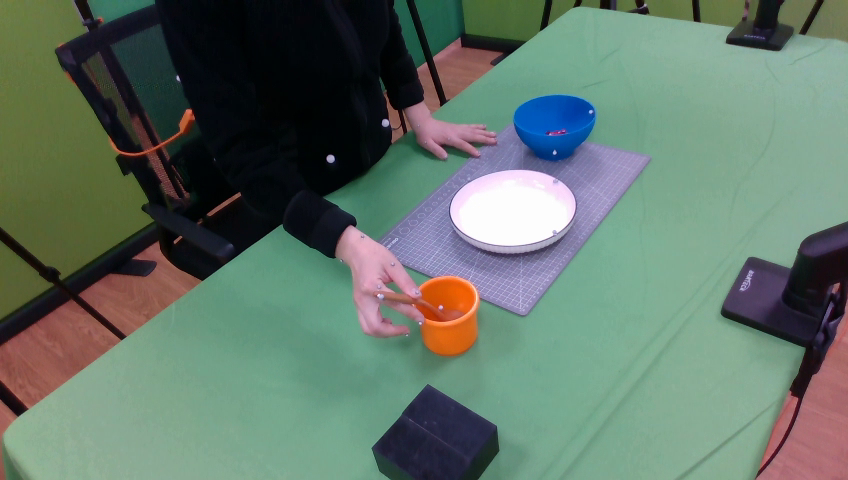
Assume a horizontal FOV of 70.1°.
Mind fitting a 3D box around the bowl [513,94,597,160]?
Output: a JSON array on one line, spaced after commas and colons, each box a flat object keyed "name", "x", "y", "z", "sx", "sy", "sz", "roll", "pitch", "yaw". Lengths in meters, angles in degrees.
[{"name": "bowl", "x": 0.244, "y": -0.202, "z": 1.130, "sx": 0.151, "sy": 0.077, "sz": 0.150, "roll": -6, "pitch": 40, "yaw": 5}]

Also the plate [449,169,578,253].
[{"name": "plate", "x": 0.146, "y": -0.044, "z": 0.993, "sx": 0.209, "sy": 0.038, "sz": 0.208, "roll": -5, "pitch": 40, "yaw": 5}]

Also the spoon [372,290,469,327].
[{"name": "spoon", "x": -0.002, "y": 0.085, "z": 0.776, "sx": 0.041, "sy": 0.195, "sz": 0.021, "roll": 37, "pitch": 95, "yaw": 39}]
